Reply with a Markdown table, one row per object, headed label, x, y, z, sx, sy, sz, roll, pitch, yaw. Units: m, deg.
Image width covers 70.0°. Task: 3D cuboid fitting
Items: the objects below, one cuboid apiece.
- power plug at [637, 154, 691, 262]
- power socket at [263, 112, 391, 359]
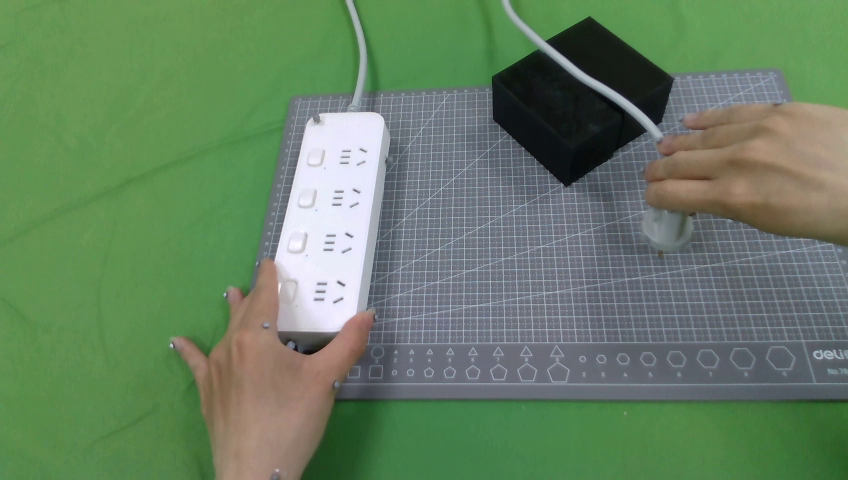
| label | x | y | z | sx | sy | sz | roll | pitch | yaw |
| --- | --- | --- | --- | --- | --- | --- | --- | --- | --- |
| power plug | 0.181 | -0.021 | 0.445 | 0.035 | 0.053 | 0.072 | 17 | 51 | 23 |
| power socket | -0.073 | -0.016 | 0.486 | 0.072 | 0.033 | 0.225 | 1 | 58 | 7 |
